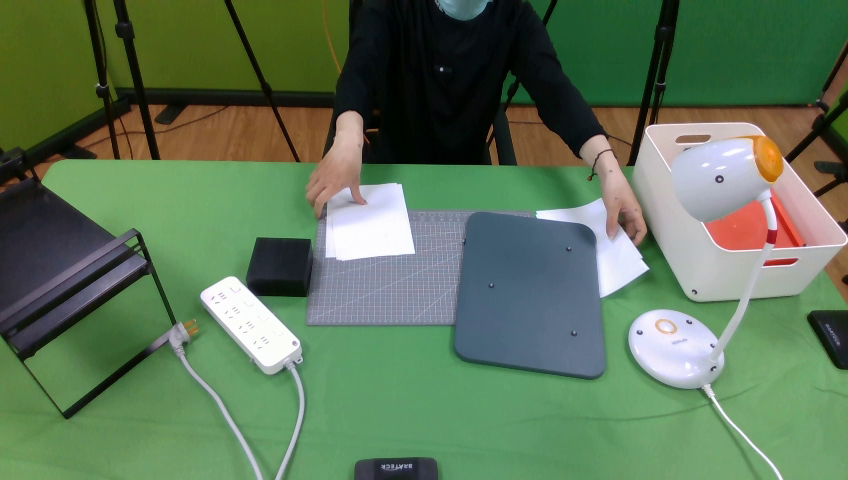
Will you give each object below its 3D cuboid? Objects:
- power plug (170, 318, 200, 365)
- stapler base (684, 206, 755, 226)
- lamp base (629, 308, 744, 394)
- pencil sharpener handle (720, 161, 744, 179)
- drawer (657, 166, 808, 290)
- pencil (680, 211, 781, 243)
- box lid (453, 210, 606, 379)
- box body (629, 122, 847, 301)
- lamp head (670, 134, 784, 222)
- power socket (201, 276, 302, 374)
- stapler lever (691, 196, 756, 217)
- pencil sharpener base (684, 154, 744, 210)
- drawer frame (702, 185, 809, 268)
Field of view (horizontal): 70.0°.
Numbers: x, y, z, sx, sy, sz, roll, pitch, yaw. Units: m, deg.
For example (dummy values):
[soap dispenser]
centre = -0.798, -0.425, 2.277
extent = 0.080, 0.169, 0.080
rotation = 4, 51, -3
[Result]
[power plug]
centre = -0.392, 0.167, 1.013
extent = 0.052, 0.035, 0.072
rotation = -31, 89, -23
[stapler base]
centre = 0.588, -0.052, 1.204
extent = 0.130, 0.024, 0.041
rotation = 2, 59, 11
[lamp base]
centre = 0.446, 0.139, 0.987
extent = 0.161, 0.181, 0.178
rotation = -18, 53, -20
[pencil sharpener handle]
centre = 0.667, -0.147, 1.299
extent = 0.031, 0.068, 0.036
rotation = -8, 80, -12
[drawer]
centre = 0.582, -0.025, 1.163
extent = 0.194, 0.073, 0.210
rotation = -12, 56, 3
[pencil]
centre = 0.598, -0.028, 1.185
extent = 0.194, 0.012, 0.012
rotation = 18, 48, 10
[box lid]
centre = 0.199, 0.085, 1.137
extent = 0.263, 0.015, 0.369
rotation = 8, 47, 3
[box body]
centre = 0.593, -0.062, 1.202
extent = 0.254, 0.161, 0.361
rotation = -3, 47, -7
[lamp head]
centre = 0.422, -0.089, 0.829
extent = 0.113, 0.123, 0.112
rotation = 8, 74, -32
[power socket]
centre = -0.297, 0.141, 1.034
extent = 0.072, 0.033, 0.225
rotation = -34, 58, -30
[stapler lever]
centre = 0.586, -0.066, 1.184
extent = 0.118, 0.040, 0.026
rotation = 2, 59, 12
[pencil sharpener base]
centre = 0.619, -0.124, 1.293
extent = 0.077, 0.107, 0.061
rotation = -8, 47, -12
[drawer frame]
centre = 0.584, -0.023, 1.160
extent = 0.202, 0.083, 0.212
rotation = -12, 56, 3
